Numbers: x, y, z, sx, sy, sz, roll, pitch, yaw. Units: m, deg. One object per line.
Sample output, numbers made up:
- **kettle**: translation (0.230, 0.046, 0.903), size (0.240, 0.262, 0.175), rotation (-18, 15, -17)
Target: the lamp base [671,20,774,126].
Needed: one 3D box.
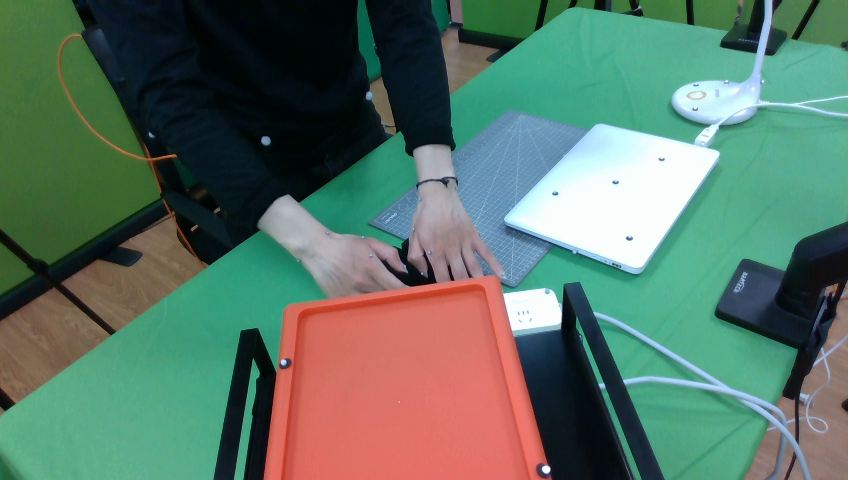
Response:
- **lamp base**: translation (0.581, -0.332, 1.153), size (0.179, 0.181, 0.160), rotation (2, 42, 7)

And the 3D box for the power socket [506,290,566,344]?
- **power socket**: translation (0.081, 0.112, 0.822), size (0.227, 0.033, 0.072), rotation (-7, 40, 0)

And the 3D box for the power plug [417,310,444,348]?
- **power plug**: translation (0.007, 0.123, 0.784), size (0.035, 0.053, 0.072), rotation (-1, 42, 7)

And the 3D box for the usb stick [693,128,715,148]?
- **usb stick**: translation (0.502, -0.176, 1.092), size (0.021, 0.027, 0.059), rotation (29, 55, 28)

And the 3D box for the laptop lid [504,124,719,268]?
- **laptop lid**: translation (0.323, -0.093, 1.021), size (0.239, 0.013, 0.358), rotation (23, 49, 33)

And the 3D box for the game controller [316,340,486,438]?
- **game controller**: translation (-0.021, 0.120, 0.534), size (0.155, 0.052, 0.096), rotation (-3, 37, 0)

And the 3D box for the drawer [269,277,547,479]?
- **drawer**: translation (-0.018, 0.137, 0.493), size (0.195, 0.073, 0.210), rotation (-7, 41, -1)

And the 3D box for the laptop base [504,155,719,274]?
- **laptop base**: translation (0.326, -0.083, 1.028), size (0.233, 0.023, 0.355), rotation (21, 48, 32)

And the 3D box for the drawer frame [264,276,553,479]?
- **drawer frame**: translation (-0.016, 0.137, 0.490), size (0.202, 0.083, 0.212), rotation (-8, 41, -1)
